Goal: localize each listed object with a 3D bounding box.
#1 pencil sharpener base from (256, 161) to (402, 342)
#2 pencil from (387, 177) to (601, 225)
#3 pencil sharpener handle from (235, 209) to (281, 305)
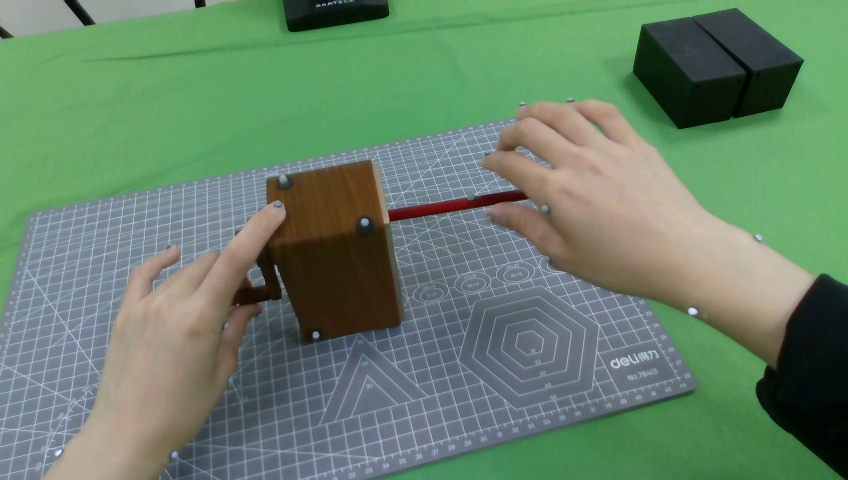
[{"bbox_3d":[-0.059,0.011,0.396,0.077,0.108,0.060,-11,48,-5],"label":"pencil sharpener base"},{"bbox_3d":[0.019,-0.020,0.384,0.194,0.012,0.012,-10,48,-5],"label":"pencil"},{"bbox_3d":[-0.109,0.014,0.380,0.031,0.068,0.035,-11,37,-5],"label":"pencil sharpener handle"}]
